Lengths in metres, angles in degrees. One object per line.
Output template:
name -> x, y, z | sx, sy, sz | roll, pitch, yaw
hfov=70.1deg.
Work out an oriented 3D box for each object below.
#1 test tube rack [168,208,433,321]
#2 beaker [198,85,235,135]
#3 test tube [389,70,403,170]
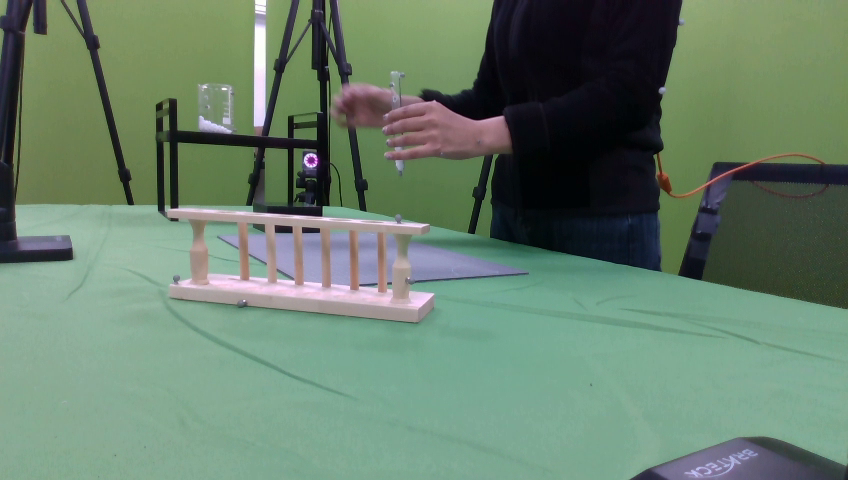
test tube rack -> -0.116, 0.017, 0.574 | 0.242, 0.085, 0.067 | 4, 8, 13
beaker -> -0.439, -0.273, 1.275 | 0.074, 0.100, 0.084 | 4, 8, 19
test tube -> -0.043, -0.183, 0.925 | 0.017, 0.150, 0.017 | -3, 4, 1
